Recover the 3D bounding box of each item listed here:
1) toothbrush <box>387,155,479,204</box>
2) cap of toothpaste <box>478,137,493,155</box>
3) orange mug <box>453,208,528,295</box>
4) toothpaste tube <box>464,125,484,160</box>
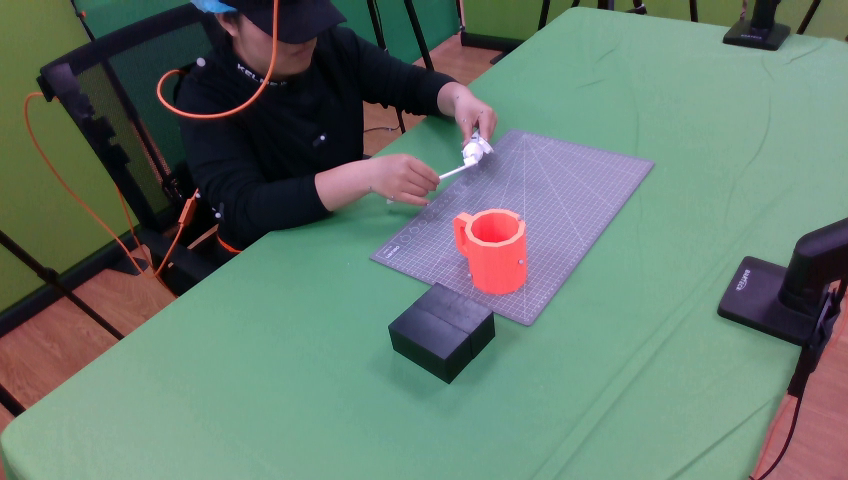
[{"bbox_3d":[0.012,-0.102,1.042,0.181,0.016,0.014,-24,3,20],"label":"toothbrush"},{"bbox_3d":[0.102,-0.155,1.005,0.011,0.037,0.037,-35,43,1],"label":"cap of toothpaste"},{"bbox_3d":[0.095,0.009,0.894,0.125,0.101,0.084,32,55,33],"label":"orange mug"},{"bbox_3d":[0.091,-0.174,1.093,0.034,0.055,0.164,32,18,-8],"label":"toothpaste tube"}]
